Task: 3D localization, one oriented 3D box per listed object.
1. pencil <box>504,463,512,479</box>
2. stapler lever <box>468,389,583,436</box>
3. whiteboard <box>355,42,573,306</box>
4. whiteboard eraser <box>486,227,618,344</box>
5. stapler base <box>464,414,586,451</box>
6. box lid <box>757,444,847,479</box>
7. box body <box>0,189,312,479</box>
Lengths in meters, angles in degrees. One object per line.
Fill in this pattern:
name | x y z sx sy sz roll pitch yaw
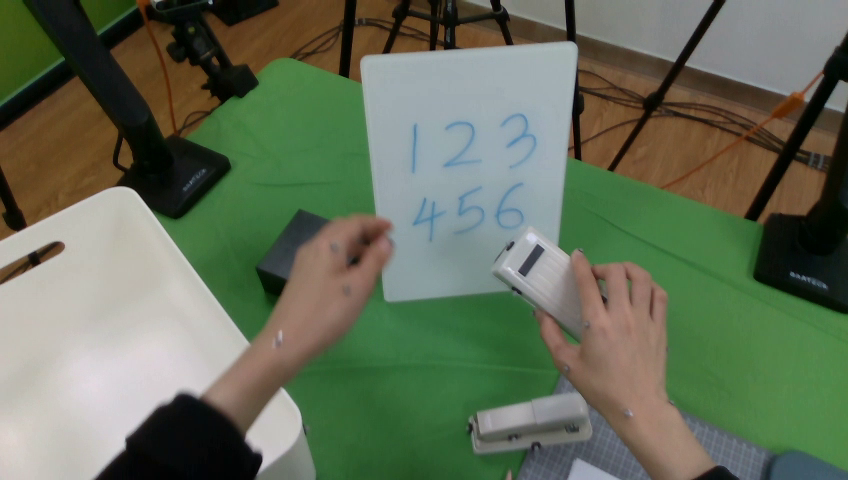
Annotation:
pencil | 0.061 0.304 0.573 0.012 0.012 0.193 14 54 11
stapler lever | 0.106 0.179 0.628 0.118 0.040 0.026 -7 49 -2
whiteboard | 0.041 -0.093 0.728 0.217 0.308 0.142 -5 34 -4
whiteboard eraser | 0.114 0.041 0.543 0.113 0.042 0.055 37 77 -6
stapler base | 0.109 0.194 0.647 0.130 0.024 0.041 -7 49 -2
box lid | 0.397 0.384 0.517 0.262 0.015 0.370 23 56 15
box body | -0.305 0.156 0.586 0.254 0.162 0.360 -35 61 -23
